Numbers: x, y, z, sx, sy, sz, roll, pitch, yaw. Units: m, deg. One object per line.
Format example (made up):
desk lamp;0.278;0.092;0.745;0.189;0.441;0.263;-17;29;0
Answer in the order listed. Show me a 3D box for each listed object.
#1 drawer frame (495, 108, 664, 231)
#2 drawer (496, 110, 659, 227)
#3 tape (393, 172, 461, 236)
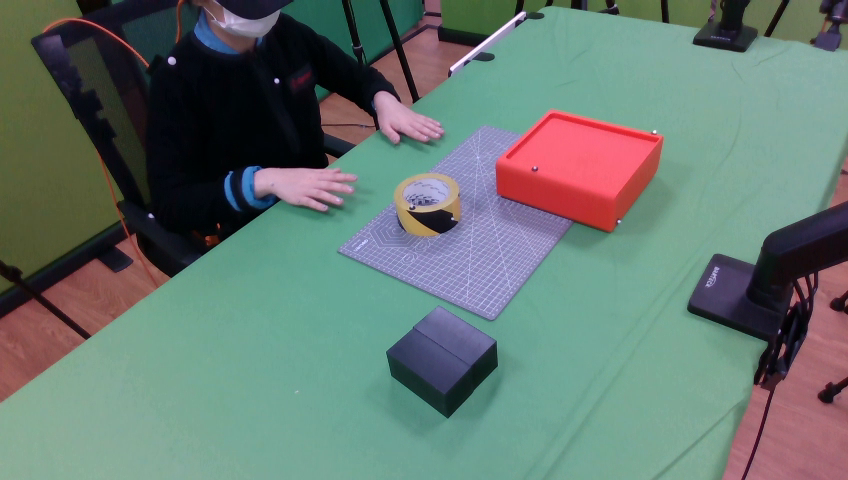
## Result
drawer frame;0.262;-0.127;1.028;0.212;0.083;0.202;22;48;29
drawer;0.259;-0.127;1.028;0.210;0.073;0.195;23;48;30
tape;0.005;-0.061;1.012;0.117;0.053;0.116;-4;40;4
